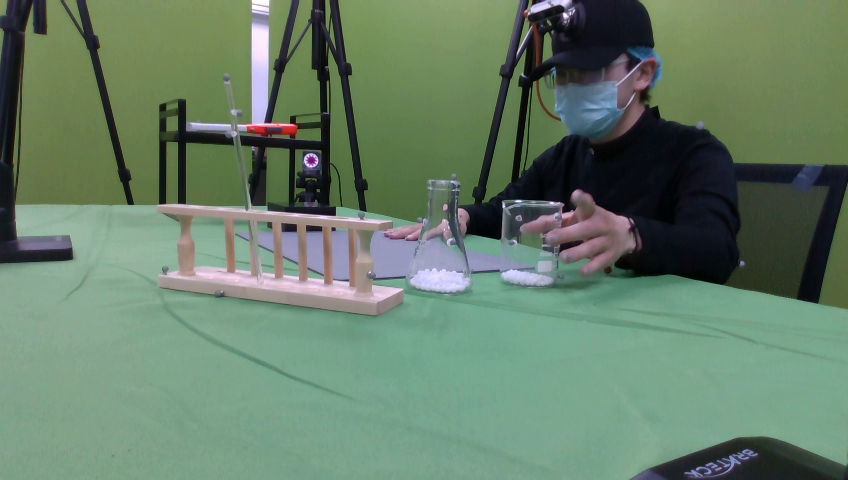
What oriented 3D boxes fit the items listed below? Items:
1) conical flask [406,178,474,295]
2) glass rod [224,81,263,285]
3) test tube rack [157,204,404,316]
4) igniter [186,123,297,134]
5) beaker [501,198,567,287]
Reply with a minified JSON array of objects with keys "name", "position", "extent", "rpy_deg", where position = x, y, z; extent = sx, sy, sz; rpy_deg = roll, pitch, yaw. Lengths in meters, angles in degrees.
[{"name":"conical flask","position":[0.019,-0.006,0.655],"extent":[0.075,0.122,0.075],"rpy_deg":[2,7,0]},{"name":"glass rod","position":[-0.173,-0.052,0.582],"extent":[0.008,0.199,0.008],"rpy_deg":[-7,8,1]},{"name":"test tube rack","position":[-0.143,0.013,0.599],"extent":[0.242,0.085,0.067],"rpy_deg":[5,8,19]},{"name":"igniter","position":[-0.392,-0.248,1.341],"extent":[0.057,0.025,0.278],"rpy_deg":[9,14,38]},{"name":"beaker","position":[0.127,0.002,0.718],"extent":[0.084,0.100,0.073],"rpy_deg":[-4,9,-35]}]
